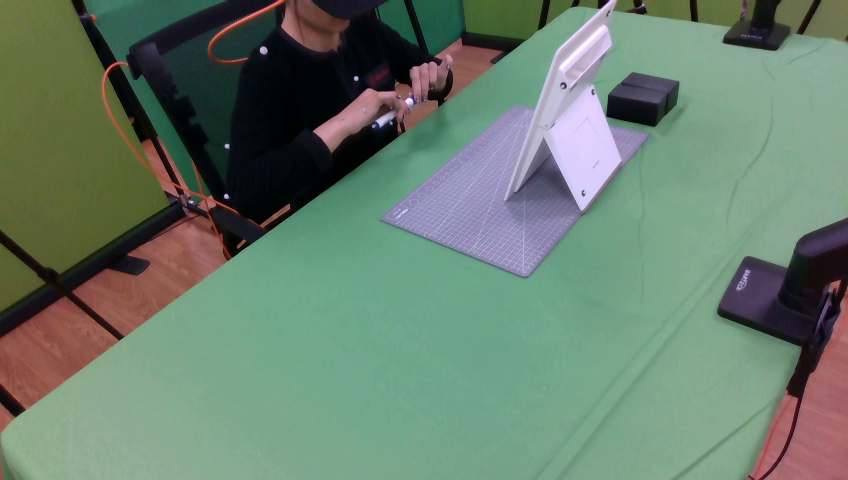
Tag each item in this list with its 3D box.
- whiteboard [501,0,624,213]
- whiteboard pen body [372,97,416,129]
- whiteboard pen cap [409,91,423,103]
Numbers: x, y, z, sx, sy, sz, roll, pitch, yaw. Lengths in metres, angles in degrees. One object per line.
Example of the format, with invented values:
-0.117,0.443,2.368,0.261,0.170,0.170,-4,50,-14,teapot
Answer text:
0.271,-0.189,0.977,0.143,0.306,0.218,34,53,16,whiteboard
-0.052,-0.254,1.186,0.017,0.017,0.141,22,48,32,whiteboard pen body
-0.019,-0.288,1.223,0.018,0.018,0.033,22,48,31,whiteboard pen cap
